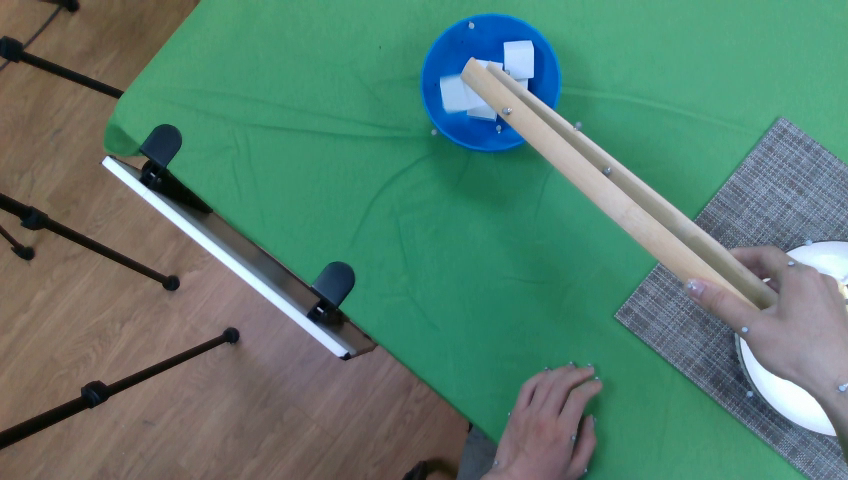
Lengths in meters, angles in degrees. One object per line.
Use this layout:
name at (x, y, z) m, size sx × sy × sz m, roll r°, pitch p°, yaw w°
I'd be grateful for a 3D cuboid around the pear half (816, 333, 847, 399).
pear half at (0.467, 0.134, 0.640) m, size 0.088 × 0.031 × 0.070 m, roll -18°, pitch 88°, yaw 7°

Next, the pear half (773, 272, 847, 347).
pear half at (0.422, 0.064, 0.641) m, size 0.110 × 0.056 × 0.076 m, roll -40°, pitch 88°, yaw -4°

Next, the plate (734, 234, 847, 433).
plate at (0.436, 0.098, 0.650) m, size 0.207 × 0.039 × 0.207 m, roll 0°, pitch 85°, yaw 4°

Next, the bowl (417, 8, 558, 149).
bowl at (0.069, -0.168, 0.679) m, size 0.151 × 0.077 × 0.151 m, roll 0°, pitch 85°, yaw 3°

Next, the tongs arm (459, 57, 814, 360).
tongs arm at (0.163, -0.041, 0.531) m, size 0.384 × 0.028 × 0.028 m, roll 46°, pitch 124°, yaw 21°

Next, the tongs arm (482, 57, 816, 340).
tongs arm at (0.178, -0.046, 0.548) m, size 0.382 × 0.051 × 0.026 m, roll 43°, pitch 127°, yaw 17°
